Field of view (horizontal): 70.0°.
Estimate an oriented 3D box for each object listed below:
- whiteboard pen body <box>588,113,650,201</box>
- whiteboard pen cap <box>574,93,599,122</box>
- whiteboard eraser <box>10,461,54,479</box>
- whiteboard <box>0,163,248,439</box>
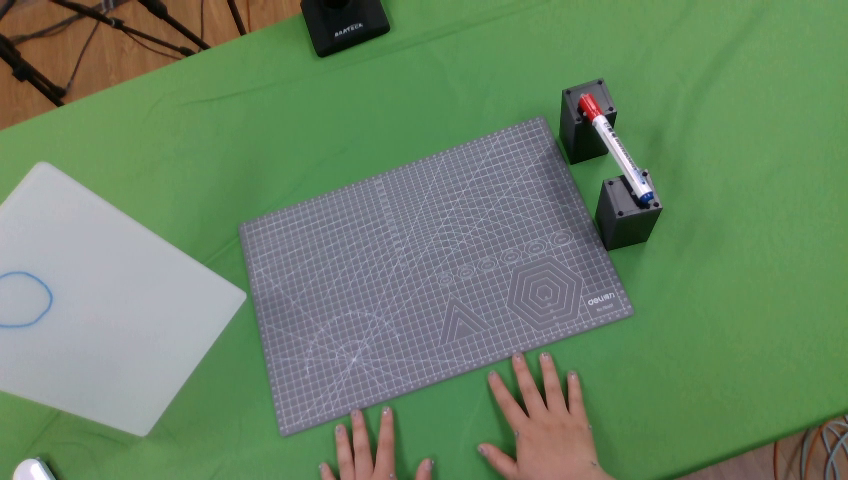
[{"bbox_3d":[0.213,-0.103,0.681,0.017,0.017,0.139,-24,68,0],"label":"whiteboard pen body"},{"bbox_3d":[0.189,-0.154,0.704,0.017,0.017,0.032,-24,69,0],"label":"whiteboard pen cap"},{"bbox_3d":[-0.473,0.316,0.745,0.100,0.019,0.041,41,80,20],"label":"whiteboard eraser"},{"bbox_3d":[-0.406,0.067,0.710,0.142,0.309,0.216,24,74,38],"label":"whiteboard"}]
